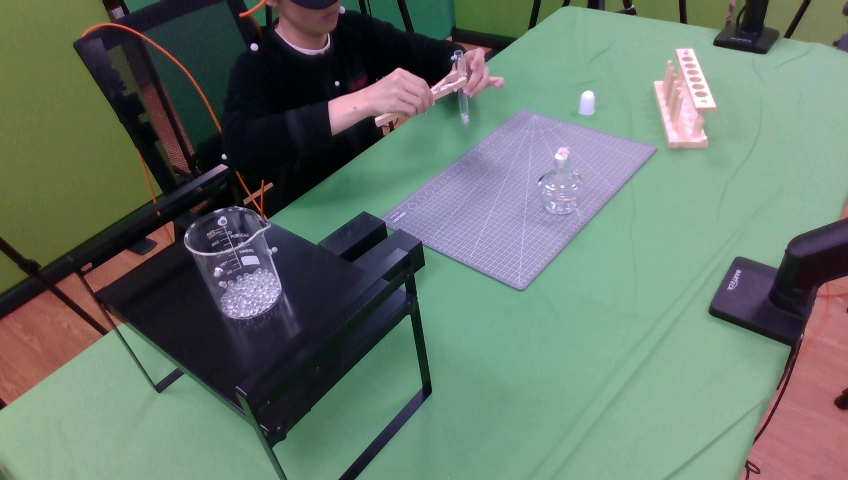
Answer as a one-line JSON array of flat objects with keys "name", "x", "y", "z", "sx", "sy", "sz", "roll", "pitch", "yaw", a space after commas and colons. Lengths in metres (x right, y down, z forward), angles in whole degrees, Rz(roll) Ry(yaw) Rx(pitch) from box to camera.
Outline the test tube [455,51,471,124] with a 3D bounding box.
[{"name": "test tube", "x": 0.070, "y": -0.266, "z": 1.067, "sx": 0.017, "sy": 0.151, "sz": 0.017, "roll": -5, "pitch": 50, "yaw": 6}]

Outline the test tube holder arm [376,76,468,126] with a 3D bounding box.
[{"name": "test tube holder arm", "x": -0.002, "y": -0.233, "z": 1.012, "sx": 0.179, "sy": 0.015, "sz": 0.013, "roll": -30, "pitch": 51, "yaw": -17}]

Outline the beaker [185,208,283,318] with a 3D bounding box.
[{"name": "beaker", "x": -0.192, "y": 0.026, "z": 0.637, "sx": 0.084, "sy": 0.101, "sz": 0.073, "roll": -13, "pitch": 41, "yaw": -7}]

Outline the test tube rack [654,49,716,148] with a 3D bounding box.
[{"name": "test tube rack", "x": 0.502, "y": -0.280, "z": 1.176, "sx": 0.066, "sy": 0.085, "sz": 0.241, "roll": 1, "pitch": 41, "yaw": 11}]

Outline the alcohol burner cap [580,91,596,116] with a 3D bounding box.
[{"name": "alcohol burner cap", "x": 0.338, "y": -0.283, "z": 1.239, "sx": 0.034, "sy": 0.048, "sz": 0.033, "roll": -4, "pitch": 42, "yaw": 4}]

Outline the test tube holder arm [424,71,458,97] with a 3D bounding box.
[{"name": "test tube holder arm", "x": 0.029, "y": -0.260, "z": 1.031, "sx": 0.010, "sy": 0.015, "sz": 0.088, "roll": 28, "pitch": 58, "yaw": 27}]

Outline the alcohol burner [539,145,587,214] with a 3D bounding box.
[{"name": "alcohol burner", "x": 0.226, "y": -0.102, "z": 0.986, "sx": 0.078, "sy": 0.119, "sz": 0.077, "roll": -6, "pitch": 41, "yaw": 6}]
